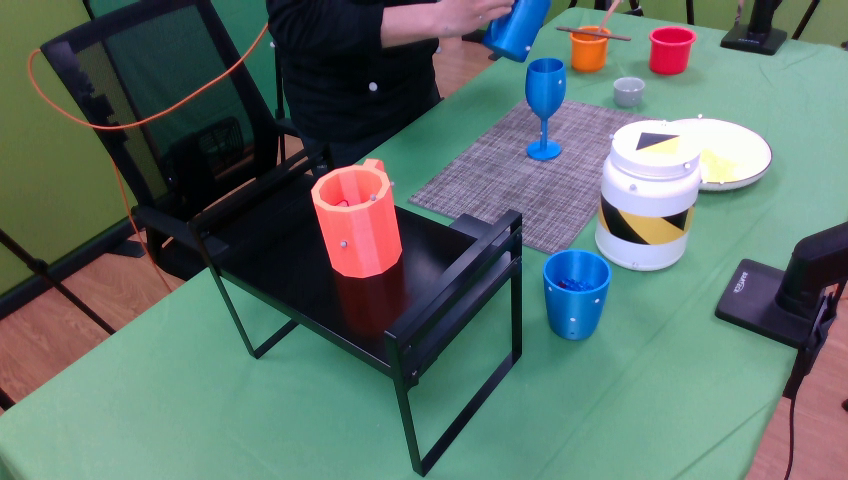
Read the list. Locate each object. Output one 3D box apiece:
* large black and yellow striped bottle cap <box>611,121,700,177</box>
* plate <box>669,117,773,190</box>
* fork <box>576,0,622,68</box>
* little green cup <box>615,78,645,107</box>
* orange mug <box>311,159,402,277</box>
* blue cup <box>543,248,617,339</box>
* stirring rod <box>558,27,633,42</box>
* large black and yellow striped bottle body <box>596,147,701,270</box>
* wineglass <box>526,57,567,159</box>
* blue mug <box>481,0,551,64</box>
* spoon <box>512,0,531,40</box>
[{"bbox_3d":[0.315,-0.126,0.823,0.115,0.019,0.114,-4,42,4],"label":"large black and yellow striped bottle cap"},{"bbox_3d":[0.495,-0.148,1.063,0.209,0.038,0.208,-5,40,4],"label":"plate"},{"bbox_3d":[0.409,-0.484,1.381,0.028,0.019,0.207,37,101,47],"label":"fork"},{"bbox_3d":[0.426,-0.306,1.257,0.061,0.039,0.061,-4,40,4],"label":"little green cup"},{"bbox_3d":[-0.069,-0.034,0.694,0.083,0.101,0.126,5,46,16],"label":"orange mug"},{"bbox_3d":[0.199,0.076,0.797,0.092,0.100,0.092,-4,39,4],"label":"blue cup"},{"bbox_3d":[0.381,-0.463,1.356,0.175,0.006,0.014,21,47,30],"label":"stirring rod"},{"bbox_3d":[0.323,-0.062,0.877,0.131,0.185,0.130,-4,40,4],"label":"large black and yellow striped bottle body"},{"bbox_3d":[0.221,-0.237,1.097,0.074,0.173,0.073,-5,41,4],"label":"wineglass"},{"bbox_3d":[0.147,-0.368,1.016,0.081,0.106,0.117,31,13,30],"label":"blue mug"},{"bbox_3d":[0.181,-0.432,1.011,0.021,0.194,0.041,12,24,2],"label":"spoon"}]
